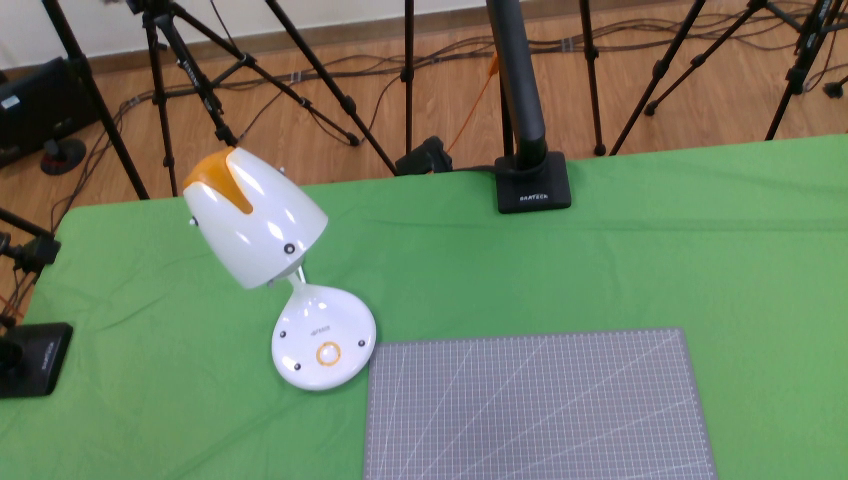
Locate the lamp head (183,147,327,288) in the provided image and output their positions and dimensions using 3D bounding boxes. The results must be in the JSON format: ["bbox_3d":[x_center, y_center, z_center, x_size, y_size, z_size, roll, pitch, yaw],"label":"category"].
[{"bbox_3d":[-0.176,-0.032,0.602,0.112,0.123,0.111,-35,17,13],"label":"lamp head"}]

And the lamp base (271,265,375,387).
[{"bbox_3d":[-0.171,0.096,0.857,0.160,0.182,0.177,-30,55,-9],"label":"lamp base"}]
